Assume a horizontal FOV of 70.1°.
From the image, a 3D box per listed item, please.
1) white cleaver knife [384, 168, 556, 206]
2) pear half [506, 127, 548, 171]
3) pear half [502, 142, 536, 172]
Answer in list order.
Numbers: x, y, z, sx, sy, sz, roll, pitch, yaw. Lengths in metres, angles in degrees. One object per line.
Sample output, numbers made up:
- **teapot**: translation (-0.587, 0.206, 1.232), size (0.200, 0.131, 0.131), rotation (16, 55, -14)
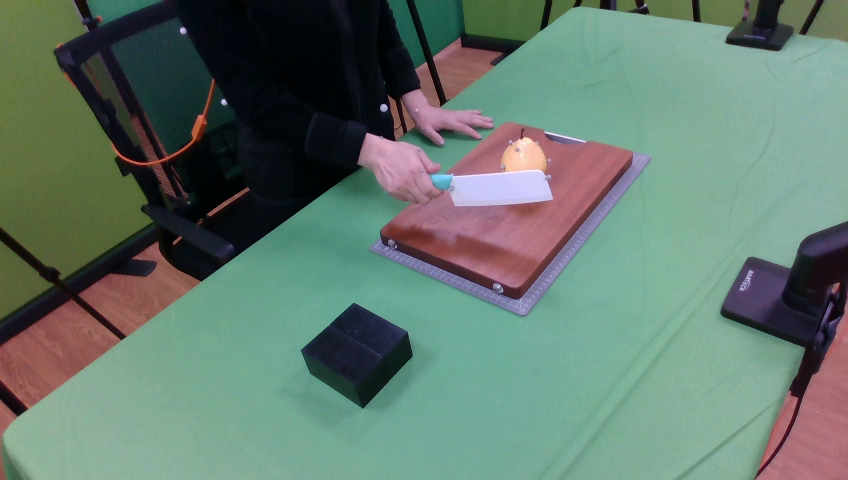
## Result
- **white cleaver knife**: translation (0.060, -0.077, 0.932), size (0.284, 0.066, 0.021), rotation (1, 39, 30)
- **pear half**: translation (0.174, -0.145, 1.011), size (0.076, 0.110, 0.056), rotation (27, 52, 30)
- **pear half**: translation (0.152, -0.119, 1.000), size (0.070, 0.088, 0.031), rotation (27, 53, 30)
